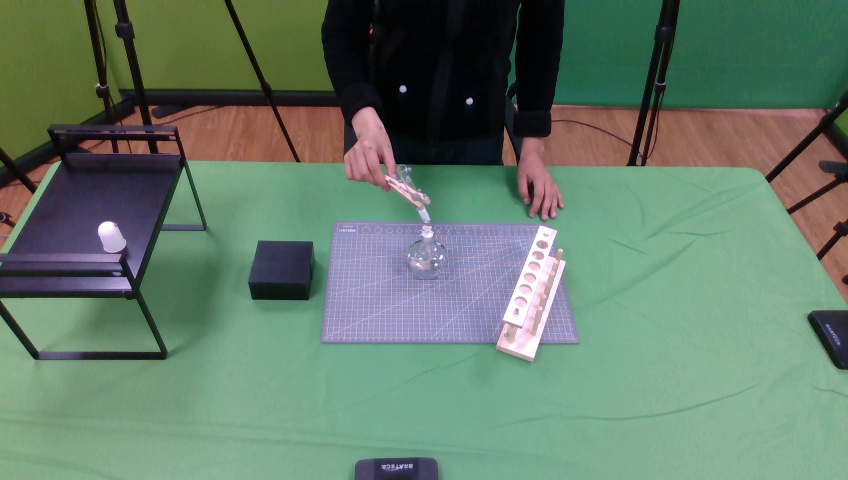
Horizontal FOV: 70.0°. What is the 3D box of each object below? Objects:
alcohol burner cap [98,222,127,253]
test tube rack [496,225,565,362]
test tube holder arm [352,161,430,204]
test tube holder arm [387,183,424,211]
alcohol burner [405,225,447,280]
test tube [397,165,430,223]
[{"bbox_3d":[-0.468,-0.007,0.905,0.034,0.048,0.033,3,46,-3],"label":"alcohol burner cap"},{"bbox_3d":[0.200,0.089,1.081,0.066,0.085,0.241,19,48,13],"label":"test tube rack"},{"bbox_3d":[-0.060,-0.100,1.048,0.177,0.015,0.013,30,70,32],"label":"test tube holder arm"},{"bbox_3d":[-0.032,-0.076,1.022,0.010,0.015,0.087,-43,55,-11],"label":"test tube holder arm"},{"bbox_3d":[0.005,0.017,1.115,0.078,0.120,0.077,1,47,-1],"label":"alcohol burner"},{"bbox_3d":[-0.016,-0.073,1.004,0.017,0.151,0.017,-9,56,13],"label":"test tube"}]
